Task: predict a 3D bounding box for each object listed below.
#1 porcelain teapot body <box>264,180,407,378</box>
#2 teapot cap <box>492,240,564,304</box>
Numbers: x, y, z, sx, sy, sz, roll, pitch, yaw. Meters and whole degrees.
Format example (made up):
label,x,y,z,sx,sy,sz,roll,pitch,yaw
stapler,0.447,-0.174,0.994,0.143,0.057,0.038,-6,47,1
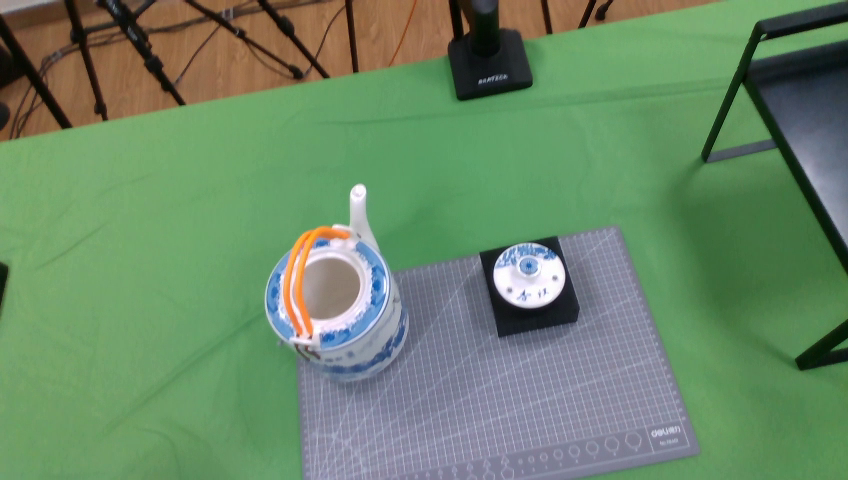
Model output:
label,x,y,z,sx,sy,sz,roll,pitch,yaw
porcelain teapot body,-0.098,0.037,0.703,0.145,0.227,0.204,8,64,13
teapot cap,0.123,0.035,0.717,0.085,0.044,0.084,-4,59,7
